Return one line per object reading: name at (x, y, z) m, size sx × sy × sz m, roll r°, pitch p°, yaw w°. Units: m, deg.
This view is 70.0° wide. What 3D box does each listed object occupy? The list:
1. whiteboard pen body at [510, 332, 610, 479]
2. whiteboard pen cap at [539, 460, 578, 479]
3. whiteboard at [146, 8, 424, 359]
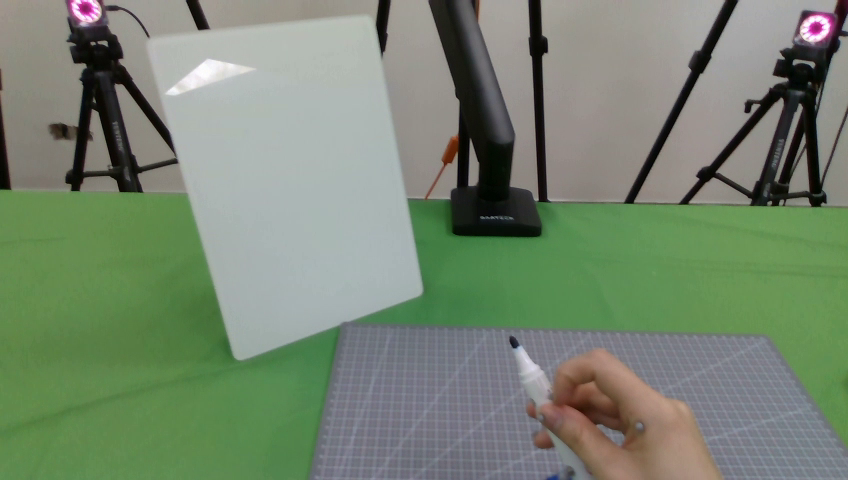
whiteboard pen body at (0.087, 0.117, 0.361) m, size 0.017 × 0.017 × 0.140 m, roll -26°, pitch 85°, yaw -36°
whiteboard pen cap at (0.108, 0.182, 0.472) m, size 0.033 × 0.018 × 0.018 m, roll -9°, pitch 34°, yaw -21°
whiteboard at (-0.149, -0.069, 0.652) m, size 0.218 × 0.307 × 0.142 m, roll -18°, pitch 18°, yaw -27°
